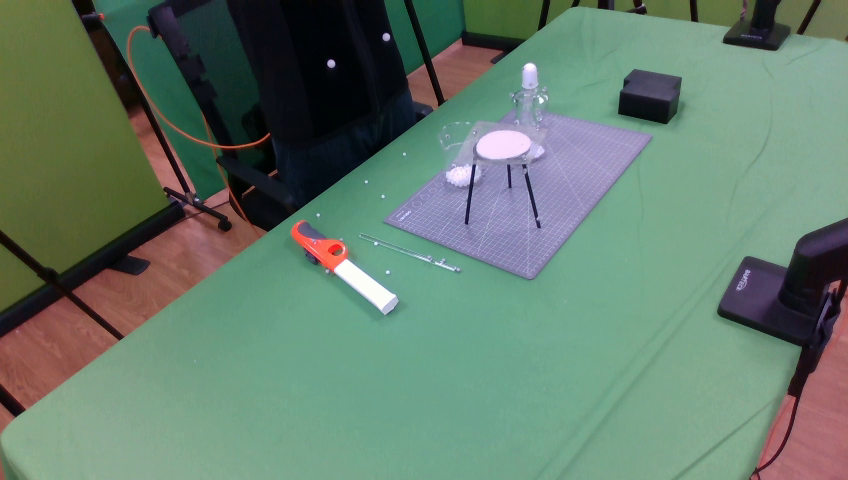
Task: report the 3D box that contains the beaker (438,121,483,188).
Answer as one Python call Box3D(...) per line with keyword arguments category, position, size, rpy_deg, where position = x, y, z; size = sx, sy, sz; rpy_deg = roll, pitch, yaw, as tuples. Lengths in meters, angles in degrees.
Box3D(category="beaker", position=(0.066, -0.149, 1.084), size=(0.073, 0.101, 0.084), rpy_deg=(20, 49, 31))

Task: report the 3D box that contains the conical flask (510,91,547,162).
Box3D(category="conical flask", position=(0.189, -0.212, 1.116), size=(0.075, 0.122, 0.075), rpy_deg=(-6, 40, 5))

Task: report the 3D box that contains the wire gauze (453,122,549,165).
Box3D(category="wire gauze", position=(0.121, -0.150, 0.942), size=(0.121, 0.011, 0.125), rpy_deg=(8, 42, 21))

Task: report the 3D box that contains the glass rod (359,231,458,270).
Box3D(category="glass rod", position=(-0.029, 0.016, 0.982), size=(0.198, 0.008, 0.008), rpy_deg=(20, 49, 30))

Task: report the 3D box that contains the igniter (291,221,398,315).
Box3D(category="igniter", position=(-0.136, 0.037, 0.962), size=(0.057, 0.025, 0.274), rpy_deg=(-41, 48, -18))

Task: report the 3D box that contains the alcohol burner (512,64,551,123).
Box3D(category="alcohol burner", position=(0.215, -0.298, 1.220), size=(0.078, 0.120, 0.077), rpy_deg=(-7, 40, 7))

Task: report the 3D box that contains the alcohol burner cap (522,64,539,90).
Box3D(category="alcohol burner cap", position=(0.210, -0.325, 1.195), size=(0.034, 0.048, 0.033), rpy_deg=(-6, 45, 7))

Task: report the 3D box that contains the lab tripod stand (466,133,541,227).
Box3D(category="lab tripod stand", position=(0.130, -0.099, 0.985), size=(0.148, 0.132, 0.147), rpy_deg=(-6, 38, 6))
